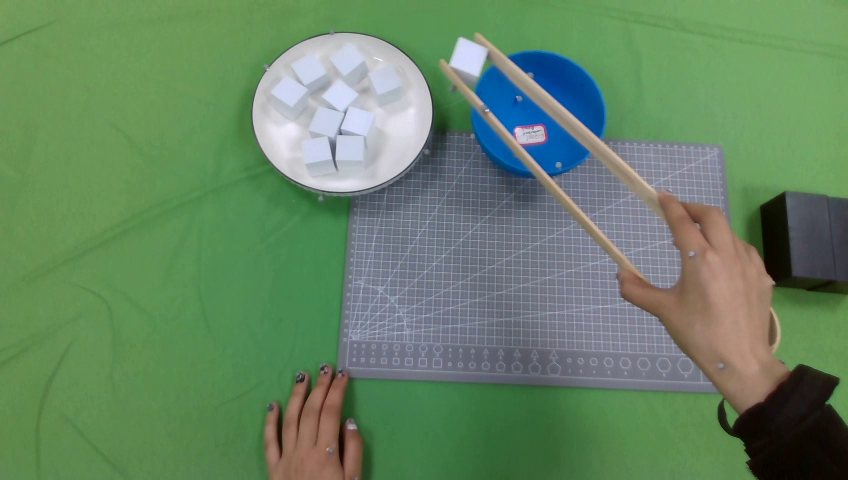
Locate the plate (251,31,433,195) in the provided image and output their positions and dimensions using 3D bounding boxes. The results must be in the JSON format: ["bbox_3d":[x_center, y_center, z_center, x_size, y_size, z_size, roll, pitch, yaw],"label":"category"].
[{"bbox_3d":[-0.094,-0.146,0.711,0.208,0.039,0.206,1,74,-2],"label":"plate"}]

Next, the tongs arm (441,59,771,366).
[{"bbox_3d":[0.144,-0.040,0.538,0.051,0.027,0.382,-35,71,-5],"label":"tongs arm"}]

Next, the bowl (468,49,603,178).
[{"bbox_3d":[0.121,-0.132,0.698,0.151,0.077,0.150,1,74,-3],"label":"bowl"}]

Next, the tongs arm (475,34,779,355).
[{"bbox_3d":[0.166,-0.057,0.541,0.028,0.028,0.384,-36,71,-9],"label":"tongs arm"}]
